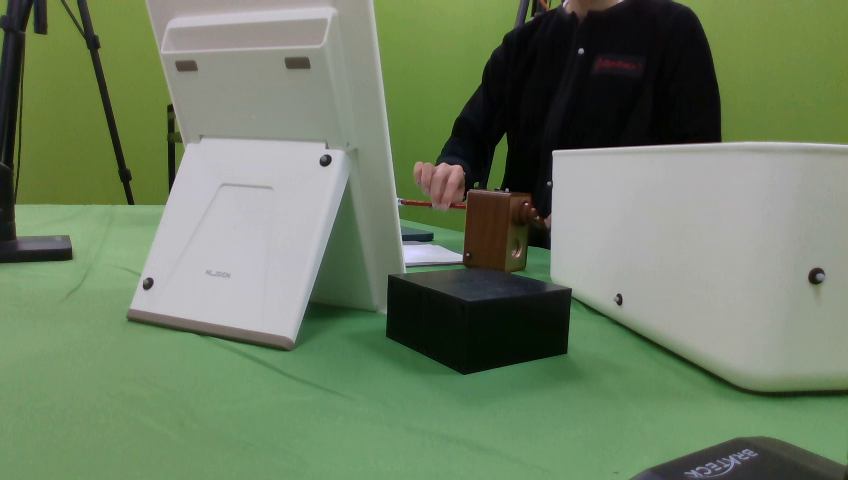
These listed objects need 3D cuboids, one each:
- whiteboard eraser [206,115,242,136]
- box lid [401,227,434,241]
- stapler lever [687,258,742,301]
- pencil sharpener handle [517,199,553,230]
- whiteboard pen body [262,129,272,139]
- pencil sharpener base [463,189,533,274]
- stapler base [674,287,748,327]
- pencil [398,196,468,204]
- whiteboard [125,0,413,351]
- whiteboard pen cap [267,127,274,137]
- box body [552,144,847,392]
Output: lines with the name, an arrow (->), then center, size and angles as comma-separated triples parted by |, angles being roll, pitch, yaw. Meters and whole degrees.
whiteboard eraser -> -0.438, -0.249, 1.320 | 0.056, 0.042, 0.112 | -3, 9, -30
box lid -> -0.196, -0.015, 1.105 | 0.373, 0.015, 0.262 | -1, 7, -32
stapler lever -> 0.283, 0.035, 0.585 | 0.026, 0.040, 0.119 | 11, 8, 37
pencil sharpener handle -> 0.152, -0.029, 0.793 | 0.030, 0.036, 0.068 | 10, -13, 38
whiteboard pen body -> -0.361, -0.245, 1.393 | 0.017, 0.017, 0.140 | 0, 5, -20
pencil sharpener base -> 0.102, -0.013, 0.816 | 0.076, 0.107, 0.061 | 10, 9, 38
stapler base -> 0.281, 0.061, 0.586 | 0.041, 0.024, 0.131 | 11, 9, 37
pencil -> 0.020, -0.060, 0.896 | 0.193, 0.012, 0.012 | 1, 5, 35
whiteboard -> -0.151, -0.050, 0.471 | 0.216, 0.305, 0.144 | 6, 27, 24
whiteboard pen cap -> -0.340, -0.239, 1.337 | 0.018, 0.018, 0.033 | 1, -1, -15
box body -> 0.290, 0.002, 0.549 | 0.255, 0.160, 0.363 | 2, 7, -10
